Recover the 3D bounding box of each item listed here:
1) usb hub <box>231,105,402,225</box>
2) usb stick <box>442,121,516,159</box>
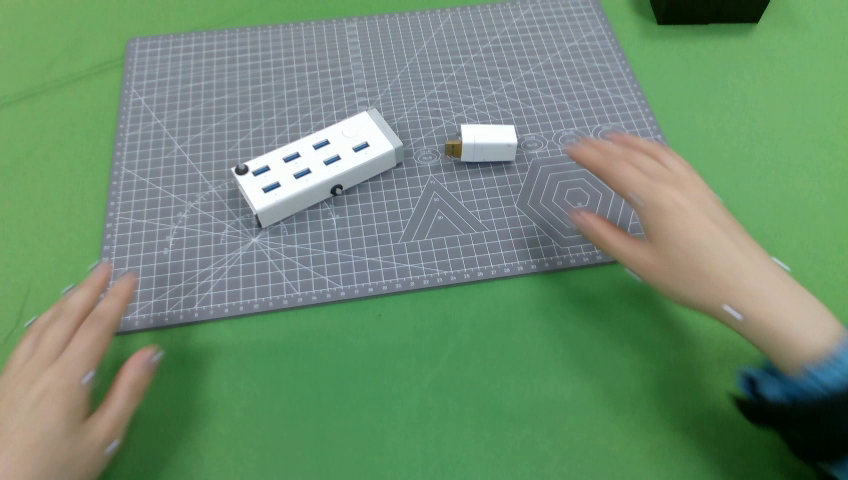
[{"bbox_3d":[-0.082,-0.061,0.474,0.125,0.025,0.049,-27,62,-17],"label":"usb hub"},{"bbox_3d":[0.043,-0.080,0.488,0.059,0.022,0.027,-3,48,-5],"label":"usb stick"}]
